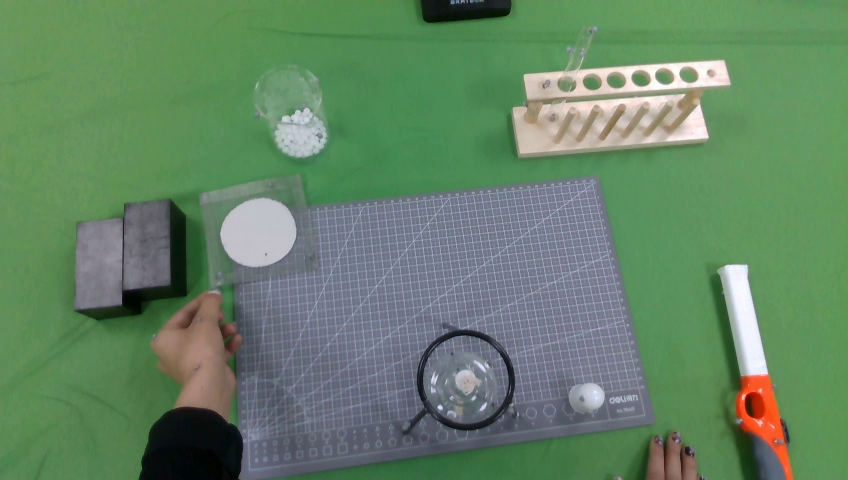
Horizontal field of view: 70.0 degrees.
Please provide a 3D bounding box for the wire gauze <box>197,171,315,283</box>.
[{"bbox_3d":[-0.199,-0.016,0.713,0.125,0.011,0.120,-12,73,-5],"label":"wire gauze"}]

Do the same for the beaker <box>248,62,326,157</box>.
[{"bbox_3d":[-0.153,-0.146,0.711,0.074,0.101,0.083,-36,78,-12],"label":"beaker"}]

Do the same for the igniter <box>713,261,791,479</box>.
[{"bbox_3d":[0.367,0.157,0.679,0.057,0.025,0.275,1,73,-13],"label":"igniter"}]

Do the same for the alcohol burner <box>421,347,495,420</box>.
[{"bbox_3d":[0.037,0.146,0.619,0.078,0.120,0.077,1,70,-3],"label":"alcohol burner"}]

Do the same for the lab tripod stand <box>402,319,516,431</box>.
[{"bbox_3d":[0.032,0.139,0.610,0.148,0.132,0.147,0,72,0],"label":"lab tripod stand"}]

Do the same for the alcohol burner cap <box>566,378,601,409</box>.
[{"bbox_3d":[0.175,0.166,0.657,0.034,0.048,0.033,0,72,-1],"label":"alcohol burner cap"}]

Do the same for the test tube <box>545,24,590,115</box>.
[{"bbox_3d":[0.162,-0.190,0.695,0.017,0.151,0.017,1,68,-2],"label":"test tube"}]

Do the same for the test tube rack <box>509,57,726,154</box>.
[{"bbox_3d":[0.233,-0.163,0.741,0.242,0.085,0.066,-5,73,-4],"label":"test tube rack"}]
